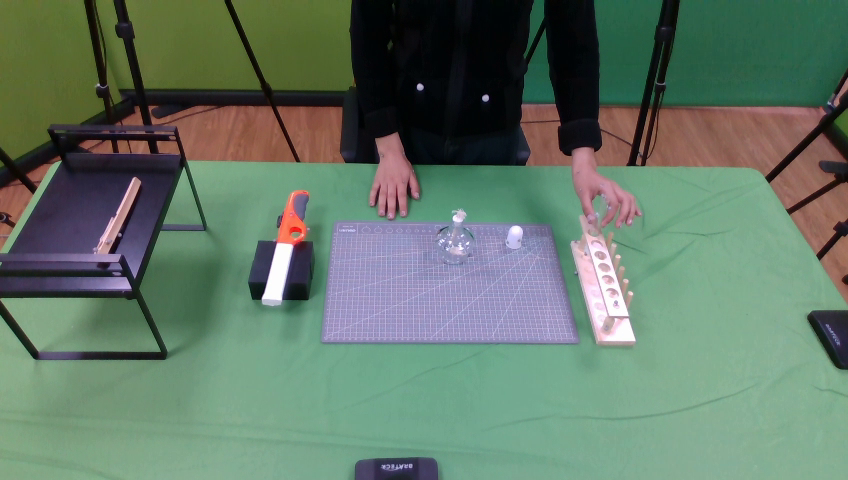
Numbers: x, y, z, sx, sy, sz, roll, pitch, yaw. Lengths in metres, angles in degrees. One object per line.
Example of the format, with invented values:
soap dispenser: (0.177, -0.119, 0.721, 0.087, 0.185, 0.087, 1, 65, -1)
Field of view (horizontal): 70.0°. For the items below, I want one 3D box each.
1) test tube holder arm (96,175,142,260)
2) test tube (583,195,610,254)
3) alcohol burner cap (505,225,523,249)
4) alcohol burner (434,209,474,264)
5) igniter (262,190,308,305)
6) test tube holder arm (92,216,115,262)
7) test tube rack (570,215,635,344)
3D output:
test tube holder arm: (-0.474, -0.039, 0.946, 0.013, 0.015, 0.177, -19, 43, 19)
test tube: (0.317, -0.026, 1.121, 0.017, 0.151, 0.017, 1, 49, -1)
alcohol burner cap: (0.180, -0.009, 1.203, 0.034, 0.048, 0.033, 2, 47, -2)
alcohol burner: (0.058, -0.011, 1.147, 0.078, 0.119, 0.077, 3, 45, -3)
igniter: (-0.252, 0.003, 1.108, 0.057, 0.025, 0.275, 7, 47, -5)
test tube holder arm: (-0.479, -0.004, 0.917, 0.010, 0.015, 0.087, -19, 43, 20)
test tube rack: (0.333, 0.067, 1.116, 0.067, 0.085, 0.240, 1, 46, -3)
